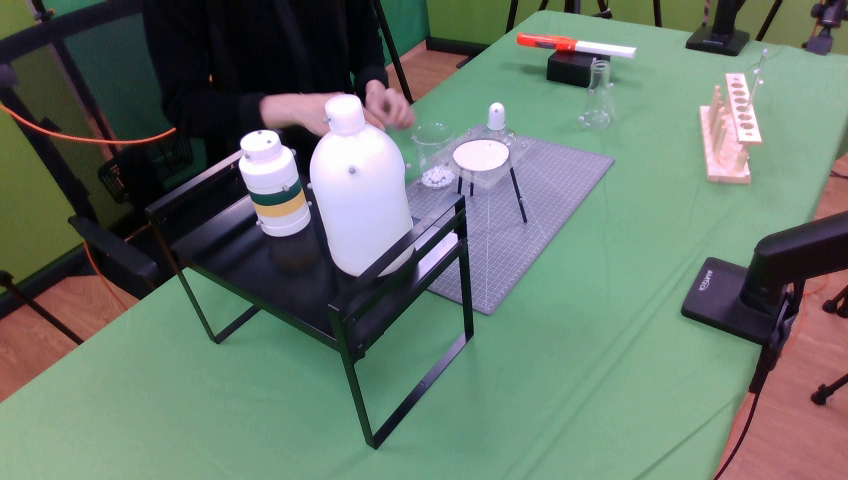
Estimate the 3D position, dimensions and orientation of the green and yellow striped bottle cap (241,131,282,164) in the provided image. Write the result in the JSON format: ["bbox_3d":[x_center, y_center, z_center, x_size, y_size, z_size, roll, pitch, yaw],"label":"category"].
[{"bbox_3d":[-0.187,-0.107,0.695,0.045,0.020,0.045,-3,39,3],"label":"green and yellow striped bottle cap"}]

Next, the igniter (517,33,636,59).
[{"bbox_3d":[0.336,-0.441,1.369,0.275,0.025,0.057,16,41,23],"label":"igniter"}]

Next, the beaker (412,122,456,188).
[{"bbox_3d":[0.022,-0.152,1.088,0.073,0.100,0.084,13,44,21],"label":"beaker"}]

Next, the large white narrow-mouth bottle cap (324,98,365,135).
[{"bbox_3d":[-0.076,-0.120,0.585,0.038,0.024,0.037,-3,42,3],"label":"large white narrow-mouth bottle cap"}]

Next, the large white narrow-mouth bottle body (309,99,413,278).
[{"bbox_3d":[-0.069,-0.057,0.644,0.102,0.195,0.101,-3,42,4],"label":"large white narrow-mouth bottle body"}]

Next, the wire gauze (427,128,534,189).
[{"bbox_3d":[0.086,-0.131,0.924,0.124,0.011,0.122,26,52,33],"label":"wire gauze"}]

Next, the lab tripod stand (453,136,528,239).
[{"bbox_3d":[0.094,-0.086,0.974,0.148,0.132,0.147,-4,43,4],"label":"lab tripod stand"}]

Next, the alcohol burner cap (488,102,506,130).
[{"bbox_3d":[0.133,-0.227,1.092,0.034,0.048,0.033,-1,47,2],"label":"alcohol burner cap"}]

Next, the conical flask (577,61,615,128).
[{"bbox_3d":[0.343,-0.288,1.188,0.075,0.122,0.075,-4,41,4],"label":"conical flask"}]

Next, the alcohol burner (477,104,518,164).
[{"bbox_3d":[0.135,-0.200,1.117,0.078,0.119,0.077,-4,43,4],"label":"alcohol burner"}]

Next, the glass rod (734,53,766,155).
[{"bbox_3d":[0.540,-0.220,1.006,0.008,0.201,0.008,-5,45,6],"label":"glass rod"}]

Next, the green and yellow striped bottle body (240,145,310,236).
[{"bbox_3d":[-0.181,-0.068,0.729,0.063,0.120,0.063,-4,40,4],"label":"green and yellow striped bottle body"}]

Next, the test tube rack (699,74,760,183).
[{"bbox_3d":[0.547,-0.208,1.095,0.066,0.085,0.242,6,42,16],"label":"test tube rack"}]
